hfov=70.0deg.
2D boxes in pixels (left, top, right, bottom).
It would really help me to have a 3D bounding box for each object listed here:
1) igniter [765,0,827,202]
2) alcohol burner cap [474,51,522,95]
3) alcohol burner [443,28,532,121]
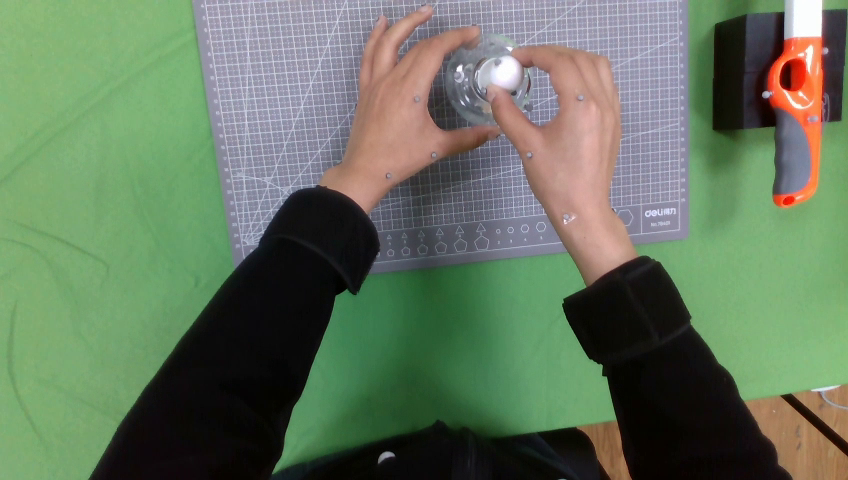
[{"bbox_3d":[0.333,-0.173,0.540,0.057,0.025,0.277,-4,98,-6],"label":"igniter"},{"bbox_3d":[0.060,-0.133,0.480,0.034,0.047,0.034,-1,100,-8],"label":"alcohol burner cap"},{"bbox_3d":[0.058,-0.140,0.509,0.078,0.118,0.078,-2,101,-9],"label":"alcohol burner"}]
